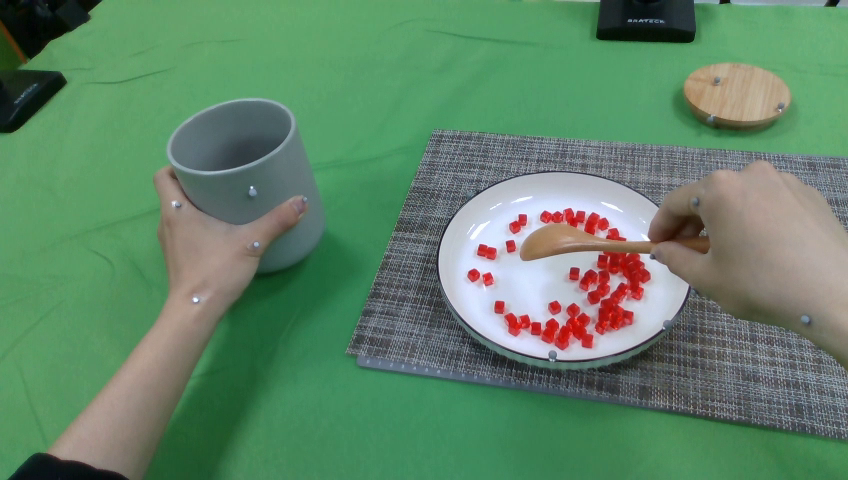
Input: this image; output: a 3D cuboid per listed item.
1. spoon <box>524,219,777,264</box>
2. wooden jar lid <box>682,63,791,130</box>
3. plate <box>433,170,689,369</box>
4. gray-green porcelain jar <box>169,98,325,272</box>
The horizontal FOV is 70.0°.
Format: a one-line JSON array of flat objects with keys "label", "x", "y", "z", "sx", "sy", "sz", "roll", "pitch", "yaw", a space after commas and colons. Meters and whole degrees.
[{"label": "spoon", "x": 0.148, "y": 0.004, "z": 0.434, "sx": 0.192, "sy": 0.022, "sz": 0.041, "roll": 4, "pitch": 58, "yaw": 45}, {"label": "wooden jar lid", "x": 0.339, "y": -0.156, "z": 0.662, "sx": 0.108, "sy": 0.021, "sz": 0.107, "roll": -4, "pitch": 50, "yaw": 5}, {"label": "plate", "x": 0.112, "y": 0.023, "z": 0.518, "sx": 0.207, "sy": 0.039, "sz": 0.205, "roll": -4, "pitch": 48, "yaw": 5}, {"label": "gray-green porcelain jar", "x": -0.148, "y": -0.043, "z": 0.537, "sx": 0.106, "sy": 0.128, "sz": 0.105, "roll": -4, "pitch": 45, "yaw": 4}]
